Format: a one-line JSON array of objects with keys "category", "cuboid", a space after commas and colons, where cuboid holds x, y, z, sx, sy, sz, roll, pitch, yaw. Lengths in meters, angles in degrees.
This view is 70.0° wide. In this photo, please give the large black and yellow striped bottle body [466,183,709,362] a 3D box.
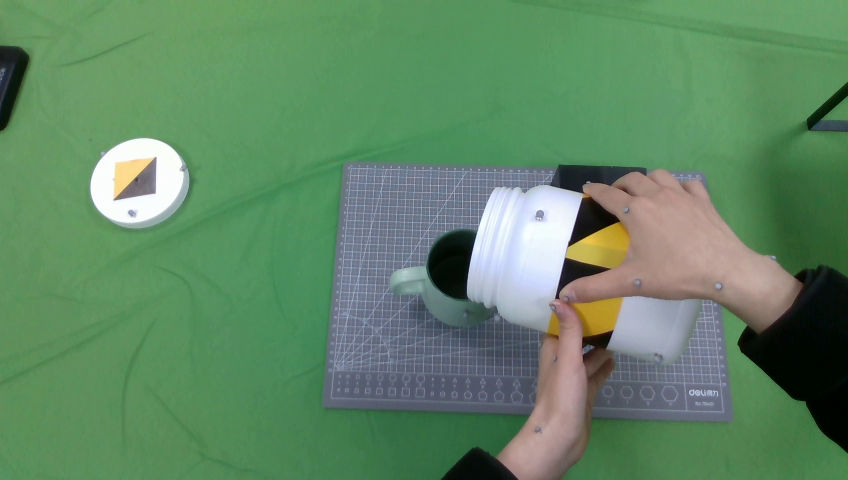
[{"category": "large black and yellow striped bottle body", "cuboid": [0.139, 0.023, 0.538, 0.183, 0.132, 0.130, 15, 72, 13]}]

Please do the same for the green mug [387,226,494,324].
[{"category": "green mug", "cuboid": [0.023, 0.040, 0.657, 0.125, 0.105, 0.092, -5, 72, -2]}]

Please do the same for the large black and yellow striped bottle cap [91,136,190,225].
[{"category": "large black and yellow striped bottle cap", "cuboid": [-0.348, -0.074, 0.744, 0.115, 0.019, 0.114, 0, 71, 0]}]
